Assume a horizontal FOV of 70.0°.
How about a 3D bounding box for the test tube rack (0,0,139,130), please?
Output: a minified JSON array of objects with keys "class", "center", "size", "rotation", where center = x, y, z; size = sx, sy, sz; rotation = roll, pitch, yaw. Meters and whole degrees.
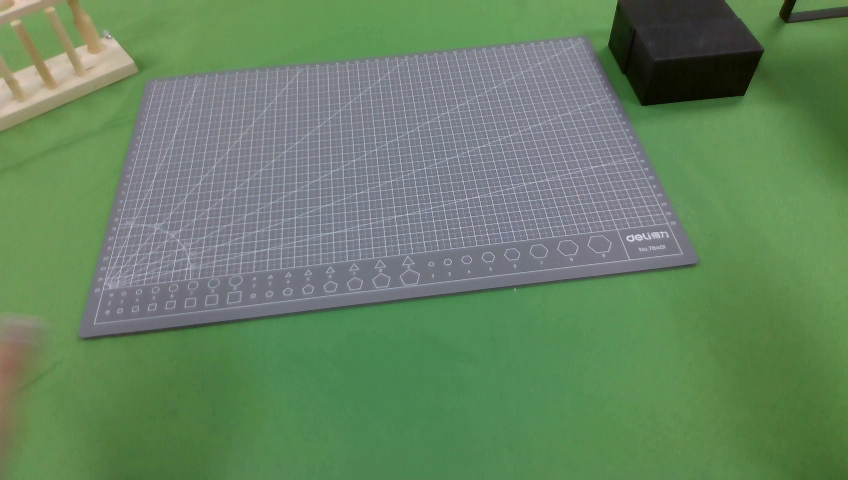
[{"class":"test tube rack","center":[-0.408,-0.158,0.559],"size":[0.242,0.086,0.066],"rotation":[-33,57,-22]}]
